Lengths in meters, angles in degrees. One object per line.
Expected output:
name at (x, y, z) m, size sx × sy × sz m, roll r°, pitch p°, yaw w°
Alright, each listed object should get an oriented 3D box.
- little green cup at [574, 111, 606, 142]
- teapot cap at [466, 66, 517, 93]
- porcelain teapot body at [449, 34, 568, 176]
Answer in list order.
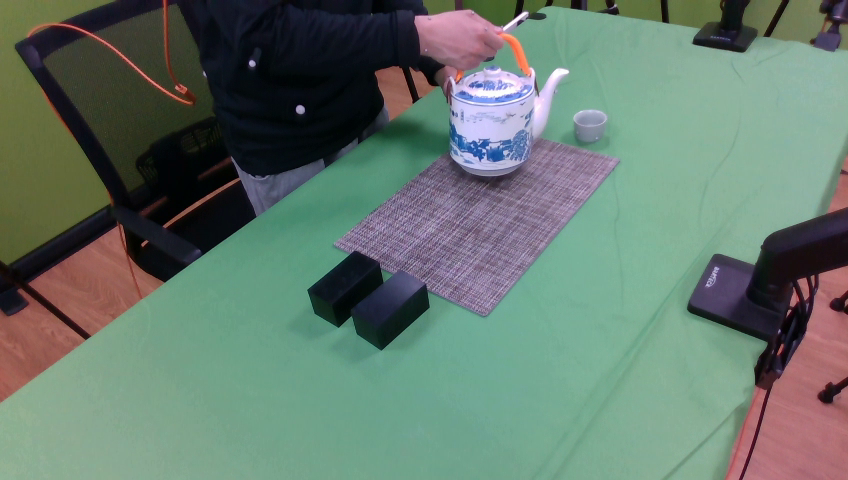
little green cup at (0.318, -0.217, 1.164) m, size 0.061 × 0.039 × 0.061 m, roll -3°, pitch 41°, yaw 3°
teapot cap at (0.112, -0.263, 0.999) m, size 0.085 × 0.044 × 0.085 m, roll -1°, pitch 38°, yaw 1°
porcelain teapot body at (0.142, -0.237, 1.028) m, size 0.206 × 0.226 × 0.144 m, roll -9°, pitch 36°, yaw -8°
